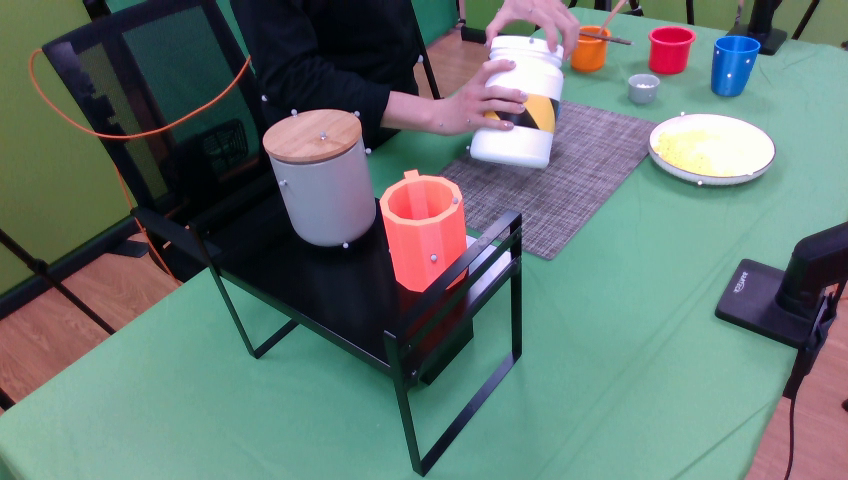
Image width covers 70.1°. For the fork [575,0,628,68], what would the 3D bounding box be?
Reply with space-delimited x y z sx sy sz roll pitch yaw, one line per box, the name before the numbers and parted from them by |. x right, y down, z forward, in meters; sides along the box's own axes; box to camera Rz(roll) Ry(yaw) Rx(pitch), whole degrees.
fork | 0.413 -0.481 1.377 0.207 0.019 0.028 -57 43 12

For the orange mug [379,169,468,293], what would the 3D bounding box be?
orange mug | -0.002 -0.019 0.665 0.083 0.101 0.125 -12 45 -4

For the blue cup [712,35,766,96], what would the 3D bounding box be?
blue cup | 0.627 -0.350 1.227 0.092 0.100 0.092 -4 39 4

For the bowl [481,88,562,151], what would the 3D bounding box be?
bowl | 0.187 -0.223 1.161 0.151 0.077 0.150 -4 40 4

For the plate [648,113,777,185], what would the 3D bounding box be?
plate | 0.506 -0.158 1.073 0.209 0.038 0.208 -5 40 4

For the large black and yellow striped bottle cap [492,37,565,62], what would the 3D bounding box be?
large black and yellow striped bottle cap | 0.166 -0.301 0.960 0.115 0.019 0.115 9 10 -1

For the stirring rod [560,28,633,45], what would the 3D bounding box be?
stirring rod | 0.382 -0.453 1.345 0.174 0.006 0.014 26 52 34

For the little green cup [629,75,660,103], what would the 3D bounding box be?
little green cup | 0.458 -0.314 1.260 0.061 0.039 0.061 -4 40 4

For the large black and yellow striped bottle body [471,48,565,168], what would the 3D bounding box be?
large black and yellow striped bottle body | 0.152 -0.215 0.970 0.131 0.184 0.130 9 7 -1

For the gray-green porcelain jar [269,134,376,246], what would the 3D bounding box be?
gray-green porcelain jar | -0.115 -0.064 0.715 0.106 0.127 0.105 -4 40 4

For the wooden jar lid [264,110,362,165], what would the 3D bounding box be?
wooden jar lid | -0.122 -0.112 0.673 0.108 0.021 0.108 -4 37 4

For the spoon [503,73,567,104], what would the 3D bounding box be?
spoon | 0.249 -0.336 1.332 0.194 0.022 0.041 -32 33 -25
